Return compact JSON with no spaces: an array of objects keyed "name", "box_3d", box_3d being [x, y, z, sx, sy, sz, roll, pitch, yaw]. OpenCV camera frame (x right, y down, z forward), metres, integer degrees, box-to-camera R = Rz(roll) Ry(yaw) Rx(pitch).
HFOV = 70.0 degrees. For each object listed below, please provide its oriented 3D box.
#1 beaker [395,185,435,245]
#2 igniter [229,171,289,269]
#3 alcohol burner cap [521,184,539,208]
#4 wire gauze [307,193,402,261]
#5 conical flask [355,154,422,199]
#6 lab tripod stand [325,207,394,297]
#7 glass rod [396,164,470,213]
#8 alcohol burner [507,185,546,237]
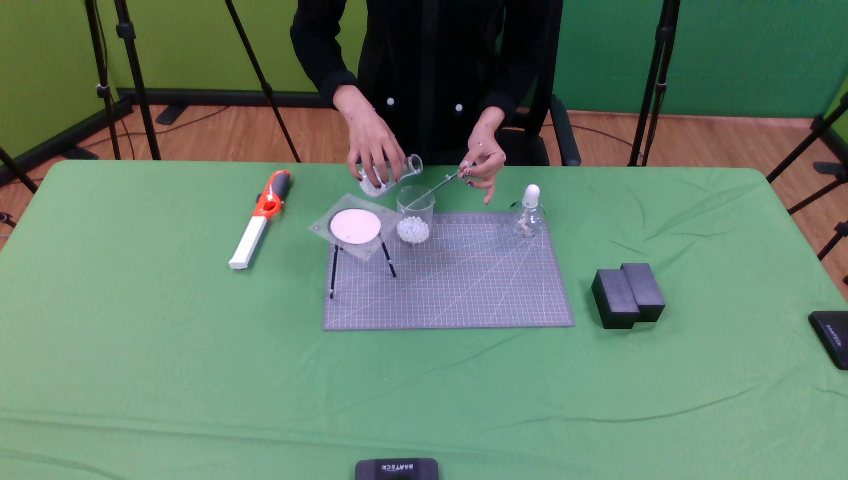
[{"name":"beaker","box_3d":[-0.022,-0.048,1.187,0.074,0.101,0.083,-28,53,-28]},{"name":"igniter","box_3d":[-0.328,-0.049,1.218,0.057,0.025,0.275,0,45,10]},{"name":"alcohol burner cap","box_3d":[0.210,-0.087,1.183,0.034,0.048,0.033,1,52,-1]},{"name":"wire gauze","box_3d":[-0.118,-0.028,1.043,0.125,0.011,0.121,24,47,17]},{"name":"conical flask","box_3d":[-0.062,-0.125,1.119,0.122,0.076,0.075,-15,35,35]},{"name":"lab tripod stand","box_3d":[-0.124,0.017,1.092,0.148,0.132,0.147,3,44,-3]},{"name":"glass rod","box_3d":[0.012,-0.093,1.117,0.008,0.199,0.008,24,52,-35]},{"name":"alcohol burner","box_3d":[0.208,-0.063,1.210,0.078,0.119,0.077,3,44,-3]}]
